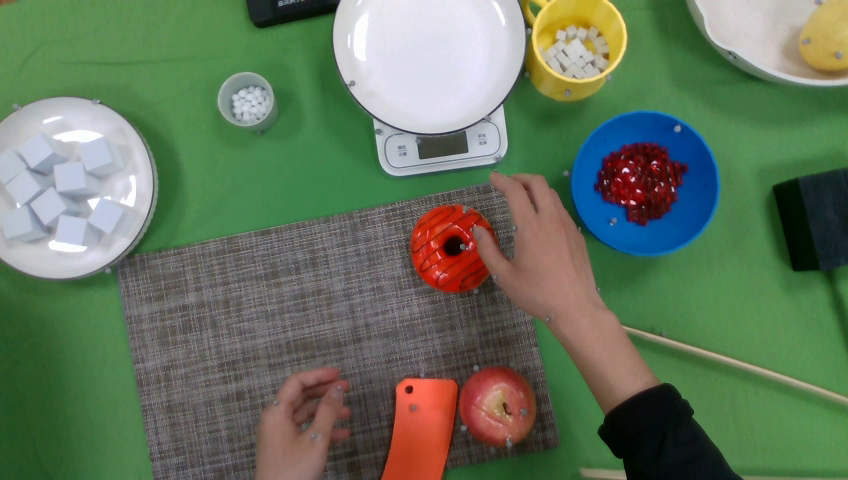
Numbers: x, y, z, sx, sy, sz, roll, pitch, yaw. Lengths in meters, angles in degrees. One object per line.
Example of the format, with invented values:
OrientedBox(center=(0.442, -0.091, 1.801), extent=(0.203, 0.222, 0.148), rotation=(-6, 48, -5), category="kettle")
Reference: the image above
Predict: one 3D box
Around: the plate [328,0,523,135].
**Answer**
OrientedBox(center=(0.001, -0.214, 0.657), extent=(0.209, 0.038, 0.208), rotation=(0, 86, 0), category="plate")

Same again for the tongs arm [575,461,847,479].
OrientedBox(center=(0.359, 0.233, 0.655), extent=(0.385, 0.026, 0.050), rotation=(3, 82, 0), category="tongs arm")

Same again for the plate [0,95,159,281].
OrientedBox(center=(-0.399, -0.057, 0.681), extent=(0.208, 0.039, 0.207), rotation=(0, 86, 1), category="plate")

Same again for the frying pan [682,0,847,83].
OrientedBox(center=(0.480, -0.229, 0.649), extent=(0.307, 0.103, 0.485), rotation=(-39, 79, -1), category="frying pan")

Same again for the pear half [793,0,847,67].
OrientedBox(center=(0.442, -0.219, 0.641), extent=(0.076, 0.110, 0.056), rotation=(25, 87, 6), category="pear half")

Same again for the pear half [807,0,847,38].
OrientedBox(center=(0.459, -0.250, 0.653), extent=(0.070, 0.088, 0.031), rotation=(23, 88, 6), category="pear half")

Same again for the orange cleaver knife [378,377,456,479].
OrientedBox(center=(-0.020, 0.247, 0.662), extent=(0.077, 0.012, 0.211), rotation=(17, 85, -3), category="orange cleaver knife")

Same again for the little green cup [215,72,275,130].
OrientedBox(center=(-0.200, -0.154, 0.685), extent=(0.061, 0.039, 0.061), rotation=(0, 86, 1), category="little green cup")

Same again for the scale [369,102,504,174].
OrientedBox(center=(0.007, -0.182, 0.688), extent=(0.149, 0.031, 0.200), rotation=(-8, 86, 1), category="scale")

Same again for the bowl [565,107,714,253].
OrientedBox(center=(0.221, -0.059, 0.654), extent=(0.151, 0.077, 0.151), rotation=(0, 87, 1), category="bowl")

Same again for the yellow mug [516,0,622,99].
OrientedBox(center=(0.149, -0.226, 0.672), extent=(0.100, 0.064, 0.130), rotation=(-44, 86, -1), category="yellow mug")

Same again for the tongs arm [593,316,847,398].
OrientedBox(center=(0.372, 0.148, 0.664), extent=(0.387, 0.028, 0.028), rotation=(18, 78, 1), category="tongs arm")

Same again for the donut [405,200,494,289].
OrientedBox(center=(0.027, 0.005, 0.665), extent=(0.099, 0.048, 0.099), rotation=(0, 88, 3), category="donut")

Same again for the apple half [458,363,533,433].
OrientedBox(center=(0.081, 0.159, 0.640), extent=(0.080, 0.075, 0.053), rotation=(29, 83, 6), category="apple half")

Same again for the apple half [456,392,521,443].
OrientedBox(center=(0.061, 0.192, 0.636), extent=(0.081, 0.081, 0.033), rotation=(31, 82, 3), category="apple half")
